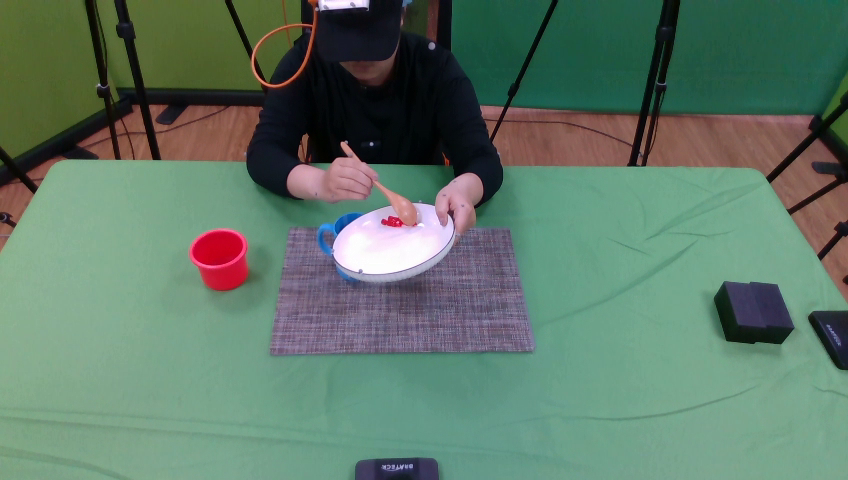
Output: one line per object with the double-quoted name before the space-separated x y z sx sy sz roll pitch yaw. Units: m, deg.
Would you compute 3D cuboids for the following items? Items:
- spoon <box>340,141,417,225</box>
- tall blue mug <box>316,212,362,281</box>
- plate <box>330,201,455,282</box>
"spoon" -0.082 -0.100 1.048 0.193 0.022 0.041 45 54 10
"tall blue mug" -0.141 0.014 1.109 0.107 0.108 0.077 -4 47 -8
"plate" -0.050 0.006 0.999 0.207 0.039 0.206 -9 33 6
